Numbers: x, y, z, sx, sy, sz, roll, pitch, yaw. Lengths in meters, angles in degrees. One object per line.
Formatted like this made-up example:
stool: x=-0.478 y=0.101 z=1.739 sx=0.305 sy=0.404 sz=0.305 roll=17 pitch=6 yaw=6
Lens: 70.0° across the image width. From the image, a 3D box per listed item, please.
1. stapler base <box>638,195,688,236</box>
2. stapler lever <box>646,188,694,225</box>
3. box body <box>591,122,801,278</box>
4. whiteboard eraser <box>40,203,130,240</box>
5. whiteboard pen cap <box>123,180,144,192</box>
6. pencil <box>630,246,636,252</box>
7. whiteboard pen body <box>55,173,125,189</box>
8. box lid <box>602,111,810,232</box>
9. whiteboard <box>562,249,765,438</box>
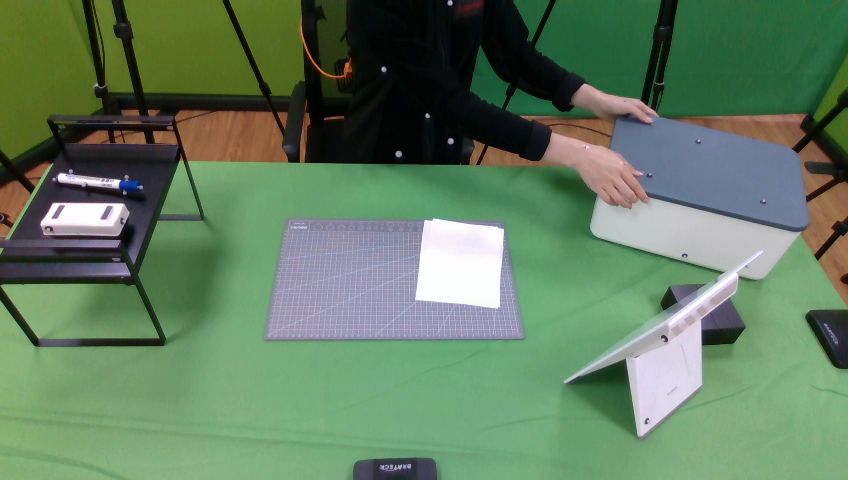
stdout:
stapler base: x=0.509 y=-0.059 z=1.279 sx=0.041 sy=0.024 sz=0.129 roll=-2 pitch=40 yaw=-29
stapler lever: x=0.514 y=-0.078 z=1.265 sx=0.027 sy=0.040 sz=0.117 roll=-2 pitch=42 yaw=-29
box body: x=0.540 y=-0.092 z=1.229 sx=0.363 sy=0.161 sz=0.253 roll=16 pitch=47 yaw=11
whiteboard eraser: x=-0.513 y=-0.028 z=0.922 sx=0.113 sy=0.042 sz=0.055 roll=1 pitch=48 yaw=-3
whiteboard pen cap: x=-0.479 y=-0.089 z=0.993 sx=0.033 sy=0.018 sz=0.018 roll=7 pitch=46 yaw=14
pencil: x=0.431 y=-0.060 z=1.284 sx=0.012 sy=0.012 sz=0.193 roll=4 pitch=59 yaw=-1
whiteboard pen body: x=-0.539 y=-0.095 z=0.998 sx=0.141 sy=0.017 sz=0.017 roll=6 pitch=46 yaw=6
box lid: x=0.545 y=-0.143 z=1.176 sx=0.371 sy=0.015 sz=0.262 roll=15 pitch=47 yaw=11
whiteboard: x=0.386 y=0.175 z=0.905 sx=0.217 sy=0.306 sz=0.143 roll=-26 pitch=72 yaw=-26
